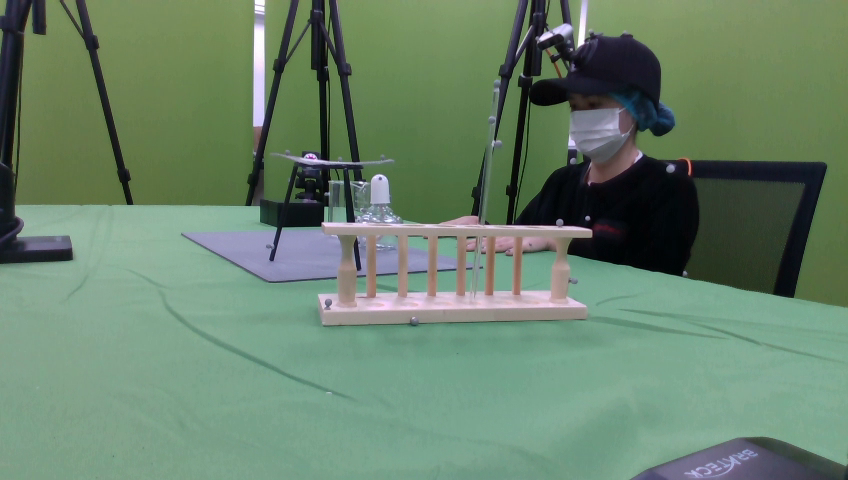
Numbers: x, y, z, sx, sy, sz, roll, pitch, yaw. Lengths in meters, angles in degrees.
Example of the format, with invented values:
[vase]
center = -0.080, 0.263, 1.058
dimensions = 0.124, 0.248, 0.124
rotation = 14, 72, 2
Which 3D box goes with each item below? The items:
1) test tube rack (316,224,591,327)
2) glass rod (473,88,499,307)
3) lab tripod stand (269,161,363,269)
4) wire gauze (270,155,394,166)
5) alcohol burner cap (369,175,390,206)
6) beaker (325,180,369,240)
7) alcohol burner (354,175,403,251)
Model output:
[test tube rack]
center = 0.026, 0.028, 0.555
dimensions = 0.243, 0.085, 0.066
rotation = 1, 7, -15
[glass rod]
center = 0.056, -0.035, 0.542
dimensions = 0.008, 0.199, 0.008
rotation = 5, 2, 0
[lab tripod stand]
center = -0.125, -0.036, 0.794
dimensions = 0.148, 0.131, 0.148
rotation = 5, 7, 0
[wire gauze]
center = -0.121, -0.102, 0.785
dimensions = 0.122, 0.011, 0.124
rotation = -3, 10, -39
[alcohol burner cap]
center = -0.069, -0.077, 0.939
dimensions = 0.034, 0.048, 0.034
rotation = -1, 6, 0
[beaker]
center = -0.133, -0.052, 1.058
dimensions = 0.074, 0.100, 0.083
rotation = -3, 10, -36
[alcohol burner]
center = -0.072, -0.042, 0.944
dimensions = 0.078, 0.119, 0.078
rotation = 1, 9, 0
